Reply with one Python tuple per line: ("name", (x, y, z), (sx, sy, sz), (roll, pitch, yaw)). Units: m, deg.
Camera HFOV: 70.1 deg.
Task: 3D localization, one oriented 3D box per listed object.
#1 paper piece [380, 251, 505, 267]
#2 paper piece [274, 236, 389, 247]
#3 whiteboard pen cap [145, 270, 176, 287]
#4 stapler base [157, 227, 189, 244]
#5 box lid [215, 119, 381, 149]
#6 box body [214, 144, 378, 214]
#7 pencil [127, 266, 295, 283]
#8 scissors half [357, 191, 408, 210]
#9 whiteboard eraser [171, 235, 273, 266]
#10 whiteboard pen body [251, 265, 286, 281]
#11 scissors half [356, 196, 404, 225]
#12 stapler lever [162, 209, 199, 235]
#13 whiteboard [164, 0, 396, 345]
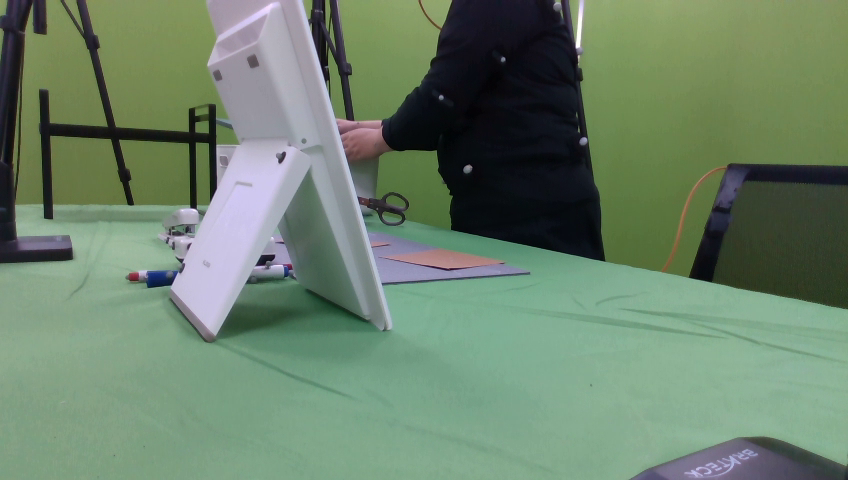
("paper piece", (0.026, 0.026, 0.865), (0.134, 0.004, 0.136), (8, 7, 43))
("paper piece", (-0.151, 0.003, 0.978), (0.135, 0.008, 0.139), (13, 10, 35))
("whiteboard pen cap", (-0.271, 0.039, 0.627), (0.033, 0.018, 0.018), (-3, 10, -33))
("stapler base", (-0.376, -0.007, 0.934), (0.041, 0.024, 0.130), (1, 5, -38))
("box lid", (-0.319, -0.266, 1.524), (0.373, 0.015, 0.262), (3, 12, -32))
("box body", (-0.328, -0.154, 1.543), (0.366, 0.160, 0.253), (-2, 9, -32))
("pencil", (-0.231, 0.037, 0.690), (0.195, 0.012, 0.012), (-2, 9, -34))
("scissors half", (-0.123, -0.091, 1.318), (0.175, 0.040, 0.013), (5, 10, -4))
("whiteboard eraser", (-0.248, 0.014, 0.747), (0.113, 0.042, 0.055), (-1, 9, -32))
("whiteboard pen body", (-0.220, 0.039, 0.656), (0.141, 0.017, 0.017), (-2, 9, -30))
("scissors half", (-0.127, -0.072, 1.321), (0.175, 0.040, 0.013), (22, 3, -5))
("stapler lever", (-0.376, -0.031, 0.933), (0.027, 0.040, 0.117), (1, 7, -38))
("whiteboard", (-0.173, -0.053, 0.511), (0.144, 0.305, 0.216), (-23, 19, -26))
